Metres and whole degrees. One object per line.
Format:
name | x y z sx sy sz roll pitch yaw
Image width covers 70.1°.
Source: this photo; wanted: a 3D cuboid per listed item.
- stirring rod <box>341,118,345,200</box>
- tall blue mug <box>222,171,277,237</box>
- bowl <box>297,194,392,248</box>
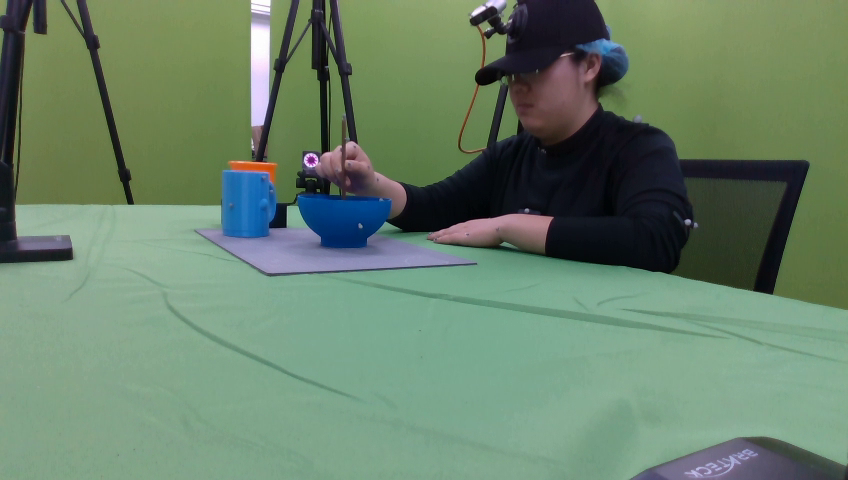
stirring rod | -0.128 -0.103 0.952 0.006 0.176 0.014 1 8 0
tall blue mug | -0.303 -0.064 1.043 0.078 0.108 0.107 1 7 -4
bowl | -0.127 -0.030 0.964 0.151 0.077 0.151 2 7 0
